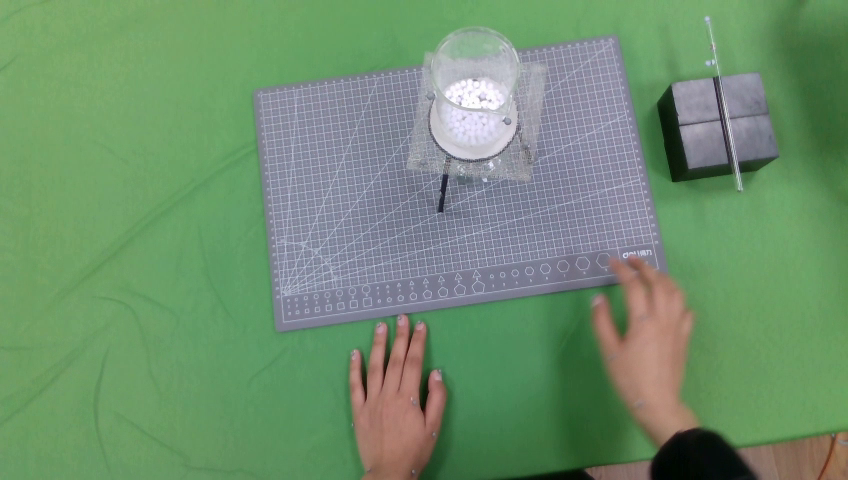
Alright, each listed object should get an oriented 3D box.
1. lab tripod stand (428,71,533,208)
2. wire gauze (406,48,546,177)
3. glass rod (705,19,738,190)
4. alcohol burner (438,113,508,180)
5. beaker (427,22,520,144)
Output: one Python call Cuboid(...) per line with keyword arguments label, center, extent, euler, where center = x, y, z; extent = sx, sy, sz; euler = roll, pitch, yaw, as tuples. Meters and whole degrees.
Cuboid(label="lab tripod stand", center=(0.049, -0.113, 0.653), extent=(0.148, 0.132, 0.148), euler=(-1, 79, 4))
Cuboid(label="wire gauze", center=(0.052, -0.124, 0.588), extent=(0.121, 0.011, 0.124), euler=(9, 78, 3))
Cuboid(label="glass rod", center=(0.327, -0.151, 0.666), extent=(0.008, 0.008, 0.199), euler=(-4, 80, 2))
Cuboid(label="alcohol burner", center=(0.054, -0.108, 0.662), extent=(0.078, 0.119, 0.077), euler=(-1, 81, 5))
Cuboid(label="beaker", center=(0.046, -0.131, 0.541), extent=(0.074, 0.100, 0.083), euler=(-35, 80, -4))
